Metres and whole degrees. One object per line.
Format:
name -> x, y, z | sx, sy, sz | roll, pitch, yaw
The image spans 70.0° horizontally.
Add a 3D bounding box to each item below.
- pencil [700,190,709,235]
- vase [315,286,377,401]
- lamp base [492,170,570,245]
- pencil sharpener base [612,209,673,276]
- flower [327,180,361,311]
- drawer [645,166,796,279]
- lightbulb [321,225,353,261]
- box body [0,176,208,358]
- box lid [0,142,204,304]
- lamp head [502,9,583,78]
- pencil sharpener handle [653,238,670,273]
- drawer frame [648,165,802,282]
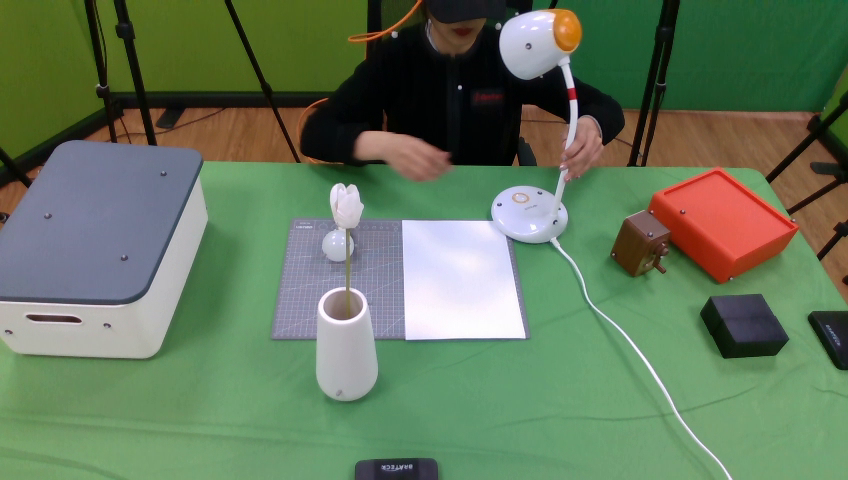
pencil -> 0.584, -0.058, 1.257 | 0.012, 0.012, 0.193 | 16, 35, 12
vase -> -0.119, 0.159, 0.911 | 0.098, 0.201, 0.097 | 2, 47, -2
lamp base -> 0.233, -0.100, 1.196 | 0.161, 0.181, 0.178 | -26, 57, -25
pencil sharpener base -> 0.416, 0.007, 1.158 | 0.061, 0.107, 0.076 | -21, 51, -22
flower -> -0.110, 0.086, 0.867 | 0.044, 0.363, 0.038 | 22, 34, 35
drawer -> 0.600, -0.040, 1.236 | 0.195, 0.073, 0.210 | -21, 52, -23
lightbulb -> -0.163, -0.001, 1.164 | 0.059, 0.060, 0.107 | 4, 30, 0
box body -> -0.546, 0.017, 1.045 | 0.254, 0.161, 0.361 | 2, 46, -2
box lid -> -0.534, -0.044, 0.995 | 0.263, 0.015, 0.369 | 3, 45, -3
lamp head -> 0.213, -0.341, 1.042 | 0.112, 0.113, 0.122 | -30, 21, -28
pencil sharpener handle -> 0.444, 0.030, 1.120 | 0.036, 0.068, 0.030 | -25, 52, -18
drawer frame -> 0.603, -0.040, 1.233 | 0.202, 0.083, 0.212 | -21, 51, -23
